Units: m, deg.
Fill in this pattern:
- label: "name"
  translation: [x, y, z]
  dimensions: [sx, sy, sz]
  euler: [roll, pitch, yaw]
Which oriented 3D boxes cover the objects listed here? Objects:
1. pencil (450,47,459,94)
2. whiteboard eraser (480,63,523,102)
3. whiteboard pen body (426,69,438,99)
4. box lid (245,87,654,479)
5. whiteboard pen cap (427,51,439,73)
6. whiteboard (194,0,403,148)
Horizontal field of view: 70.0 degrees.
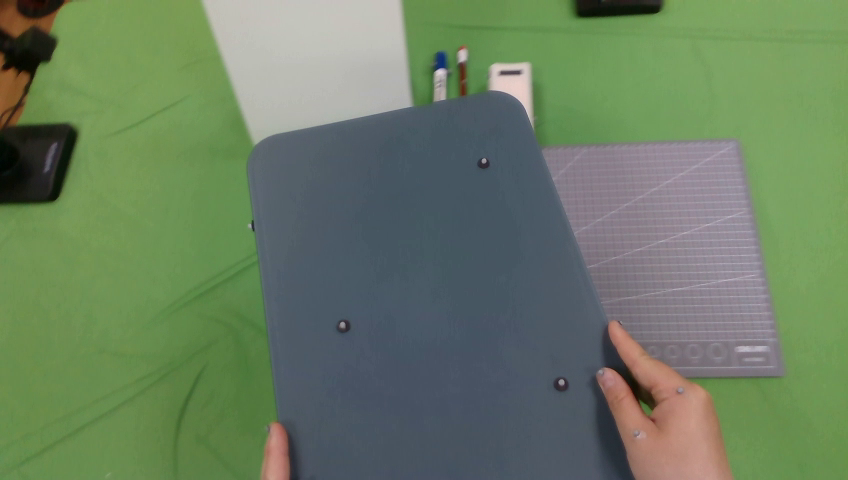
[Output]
- label: "pencil"
  translation: [0.045, -0.185, 0.822]
  dimensions: [0.012, 0.012, 0.192]
  euler: [-4, 66, 4]
- label: "whiteboard eraser"
  translation: [0.103, -0.179, 0.797]
  dimensions: [0.055, 0.042, 0.112]
  euler: [-2, 66, 6]
- label: "whiteboard pen body"
  translation: [0.010, -0.193, 0.825]
  dimensions: [0.017, 0.017, 0.139]
  euler: [-1, 66, 6]
- label: "box lid"
  translation: [0.002, 0.036, 0.491]
  dimensions: [0.263, 0.015, 0.368]
  euler: [-12, 65, -6]
- label: "whiteboard pen cap"
  translation: [0.013, -0.246, 0.847]
  dimensions: [0.018, 0.018, 0.033]
  euler: [-3, 65, 5]
- label: "whiteboard"
  translation: [-0.135, -0.265, 0.747]
  dimensions: [0.217, 0.308, 0.142]
  euler: [-2, 46, 6]
